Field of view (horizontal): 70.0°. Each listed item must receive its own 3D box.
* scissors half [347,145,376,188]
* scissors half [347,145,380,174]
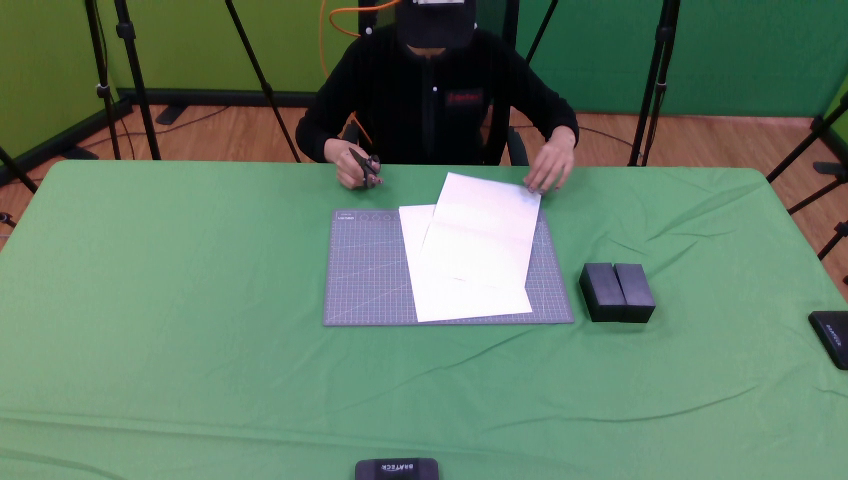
[{"bbox_3d":[-0.128,-0.148,1.214,0.013,0.176,0.040,21,74,17],"label":"scissors half"},{"bbox_3d":[-0.121,-0.166,1.217,0.013,0.175,0.040,15,89,16],"label":"scissors half"}]
